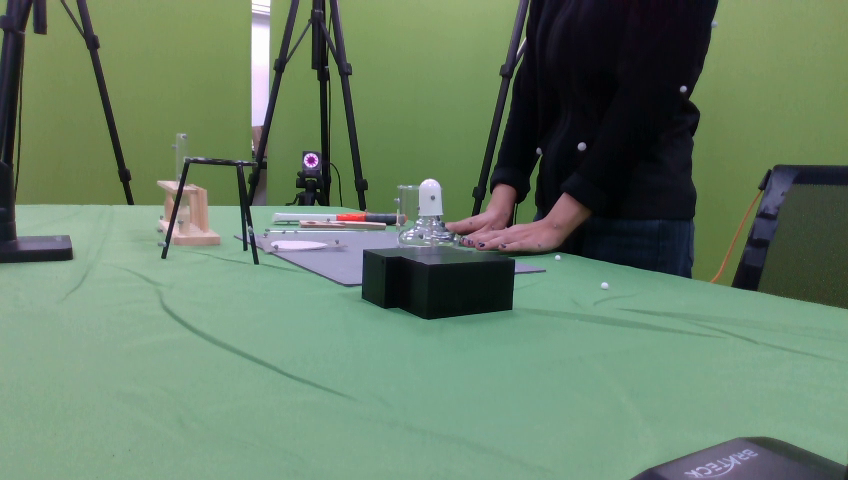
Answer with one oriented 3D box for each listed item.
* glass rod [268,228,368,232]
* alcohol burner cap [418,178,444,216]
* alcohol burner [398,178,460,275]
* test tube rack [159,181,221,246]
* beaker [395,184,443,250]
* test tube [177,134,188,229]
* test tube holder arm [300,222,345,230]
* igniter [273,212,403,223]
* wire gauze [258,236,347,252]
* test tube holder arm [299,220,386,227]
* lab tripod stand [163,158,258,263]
[{"bbox_3d":[-0.193,-0.018,1.128,0.201,0.008,0.008,0,7,-35],"label":"glass rod"},{"bbox_3d":[0.007,-0.053,0.745,0.034,0.048,0.034,-3,6,1],"label":"alcohol burner cap"},{"bbox_3d":[0.007,-0.017,0.751,0.078,0.119,0.078,3,9,0],"label":"alcohol burner"},{"bbox_3d":[-0.395,-0.050,1.010,0.067,0.085,0.241,-2,9,-28],"label":"test tube rack"},{"bbox_3d":[-0.007,-0.037,0.965,0.074,0.100,0.083,-4,11,-40],"label":"beaker"},{"bbox_3d":[-0.374,-0.089,0.938,0.017,0.150,0.017,2,4,0],"label":"test tube"},{"bbox_3d":[-0.196,-0.027,1.170,0.088,0.015,0.010,-1,43,-28],"label":"test tube holder arm"},{"bbox_3d":[-0.179,-0.048,1.290,0.278,0.025,0.057,-1,-2,-24],"label":"igniter"},{"bbox_3d":[-0.189,0.005,0.931,0.122,0.011,0.124,1,7,-21],"label":"wire gauze"},{"bbox_3d":[-0.158,-0.032,1.195,0.179,0.015,0.013,-1,43,-29],"label":"test tube holder arm"},{"bbox_3d":[-0.265,-0.041,0.802,0.148,0.131,0.148,4,6,0],"label":"lab tripod stand"}]
